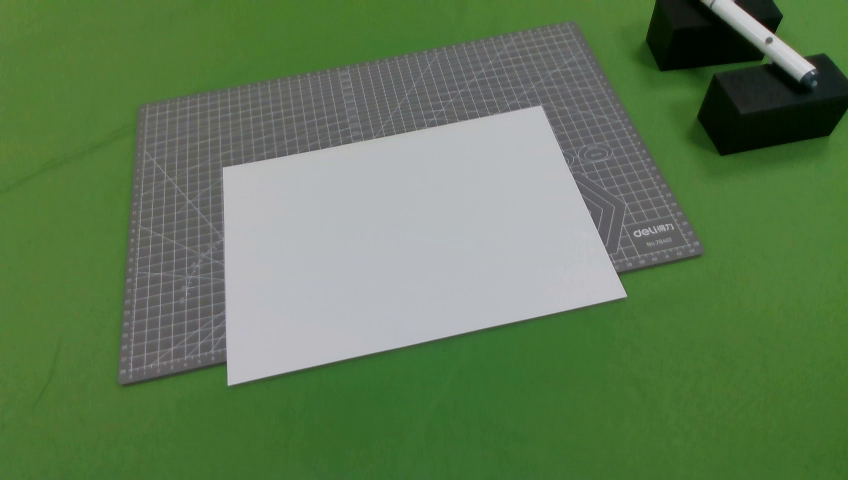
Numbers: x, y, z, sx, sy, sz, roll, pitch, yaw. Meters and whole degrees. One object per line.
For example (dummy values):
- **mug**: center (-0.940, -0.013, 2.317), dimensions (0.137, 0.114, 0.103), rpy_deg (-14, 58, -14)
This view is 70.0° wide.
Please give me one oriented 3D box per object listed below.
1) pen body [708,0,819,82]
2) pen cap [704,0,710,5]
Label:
- **pen body**: center (0.280, -0.184, 0.521), dimensions (0.017, 0.017, 0.142), rpy_deg (-22, 58, -10)
- **pen cap**: center (0.255, -0.231, 0.554), dimensions (0.017, 0.017, 0.038), rpy_deg (-23, 58, -10)
